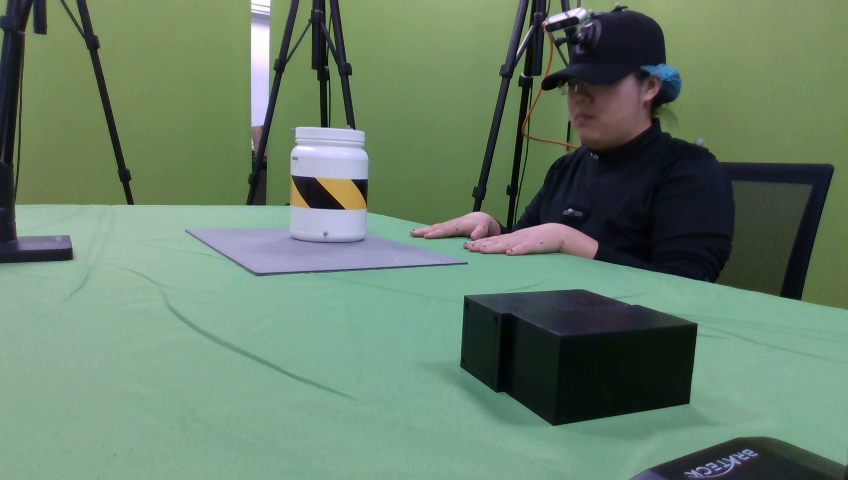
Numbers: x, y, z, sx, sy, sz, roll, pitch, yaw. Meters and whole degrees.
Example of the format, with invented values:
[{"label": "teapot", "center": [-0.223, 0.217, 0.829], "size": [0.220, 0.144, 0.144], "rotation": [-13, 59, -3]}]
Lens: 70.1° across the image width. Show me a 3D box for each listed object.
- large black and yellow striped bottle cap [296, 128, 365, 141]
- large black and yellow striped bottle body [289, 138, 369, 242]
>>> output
[{"label": "large black and yellow striped bottle cap", "center": [-0.156, -0.177, 1.014], "size": [0.115, 0.019, 0.115], "rotation": [1, 7, 0]}, {"label": "large black and yellow striped bottle body", "center": [-0.160, -0.094, 1.026], "size": [0.131, 0.184, 0.130], "rotation": [3, 8, 0]}]
